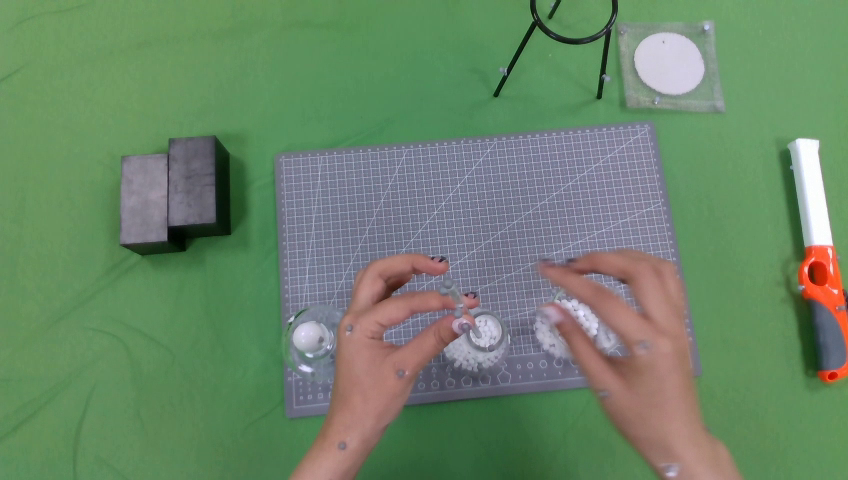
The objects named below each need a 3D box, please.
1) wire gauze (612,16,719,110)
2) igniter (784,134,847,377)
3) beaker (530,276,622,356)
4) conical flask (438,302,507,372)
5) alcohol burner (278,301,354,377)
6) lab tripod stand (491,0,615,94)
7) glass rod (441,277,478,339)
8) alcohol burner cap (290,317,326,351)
[{"bbox_3d":[0.296,-0.218,0.741,0.125,0.011,0.121,1,78,-3],"label":"wire gauze"},{"bbox_3d":[0.440,0.013,0.681,0.057,0.025,0.275,2,77,-11],"label":"igniter"},{"bbox_3d":[0.154,0.080,0.622,0.084,0.100,0.073,-38,80,-9],"label":"beaker"},{"bbox_3d":[0.053,0.093,0.606,0.075,0.122,0.075,0,76,0],"label":"conical flask"},{"bbox_3d":[-0.111,0.097,0.606,0.078,0.119,0.077,0,76,2],"label":"alcohol burner"},{"bbox_3d":[0.146,-0.227,0.676,0.148,0.132,0.147,0,79,0],"label":"lab tripod stand"},{"bbox_3d":[0.027,0.053,0.431,0.008,0.201,0.008,-3,72,9],"label":"glass rod"},{"bbox_3d":[-0.111,0.088,0.571,0.034,0.048,0.033,1,81,-5],"label":"alcohol burner cap"}]
